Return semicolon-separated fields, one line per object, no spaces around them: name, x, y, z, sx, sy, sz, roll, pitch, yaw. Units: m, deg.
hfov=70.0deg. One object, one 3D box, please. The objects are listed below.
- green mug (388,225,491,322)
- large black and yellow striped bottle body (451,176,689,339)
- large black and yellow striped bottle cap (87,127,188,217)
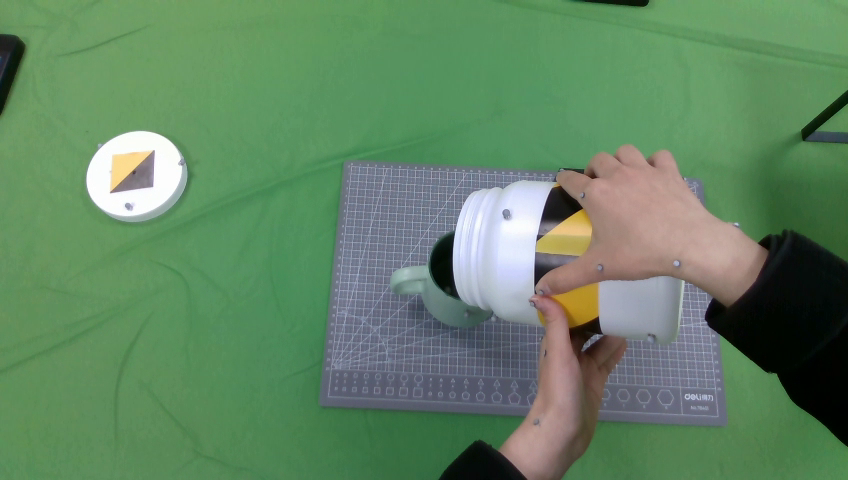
green mug;0.023;0.038;0.657;0.125;0.105;0.092;-4;72;-3
large black and yellow striped bottle body;0.128;0.010;0.531;0.183;0.132;0.130;6;69;24
large black and yellow striped bottle cap;-0.347;-0.084;0.734;0.115;0.019;0.114;1;71;-2
